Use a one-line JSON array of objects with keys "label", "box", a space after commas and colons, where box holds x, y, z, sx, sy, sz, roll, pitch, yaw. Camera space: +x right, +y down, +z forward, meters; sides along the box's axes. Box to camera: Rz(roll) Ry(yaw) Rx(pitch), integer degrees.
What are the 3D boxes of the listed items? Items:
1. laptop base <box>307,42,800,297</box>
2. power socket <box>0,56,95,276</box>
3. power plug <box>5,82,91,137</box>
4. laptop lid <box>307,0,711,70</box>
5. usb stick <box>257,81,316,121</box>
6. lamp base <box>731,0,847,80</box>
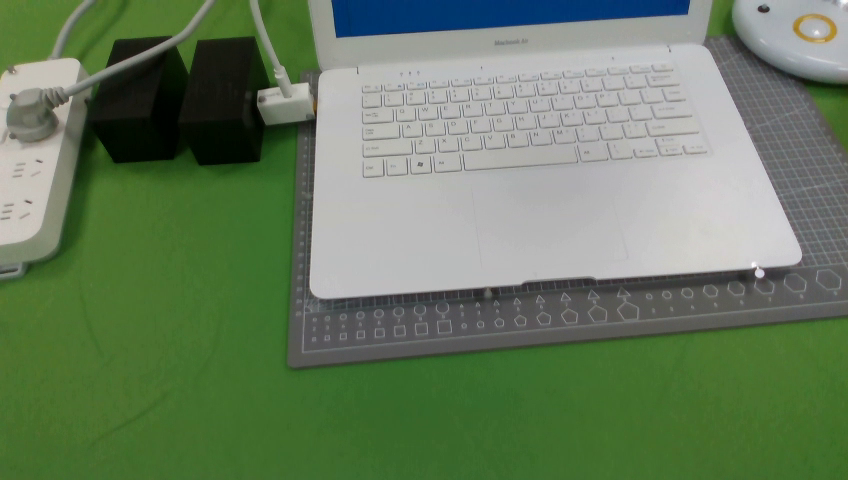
[{"label": "laptop base", "box": [0.087, -0.066, 0.492, 0.354, 0.023, 0.233, -4, 59, -1]}, {"label": "power socket", "box": [-0.328, -0.073, 0.503, 0.072, 0.033, 0.224, -8, 56, -4]}, {"label": "power plug", "box": [-0.301, -0.098, 0.491, 0.072, 0.053, 0.035, 1, 56, 2]}, {"label": "laptop lid", "box": [0.072, -0.260, 0.489, 0.357, 0.244, 0.013, -5, 35, 0]}, {"label": "usb stick", "box": [-0.110, -0.120, 0.520, 0.059, 0.027, 0.021, -5, 58, -1]}, {"label": "lamp base", "box": [0.377, -0.260, 0.513, 0.159, 0.182, 0.178, 27, 57, 20]}]
